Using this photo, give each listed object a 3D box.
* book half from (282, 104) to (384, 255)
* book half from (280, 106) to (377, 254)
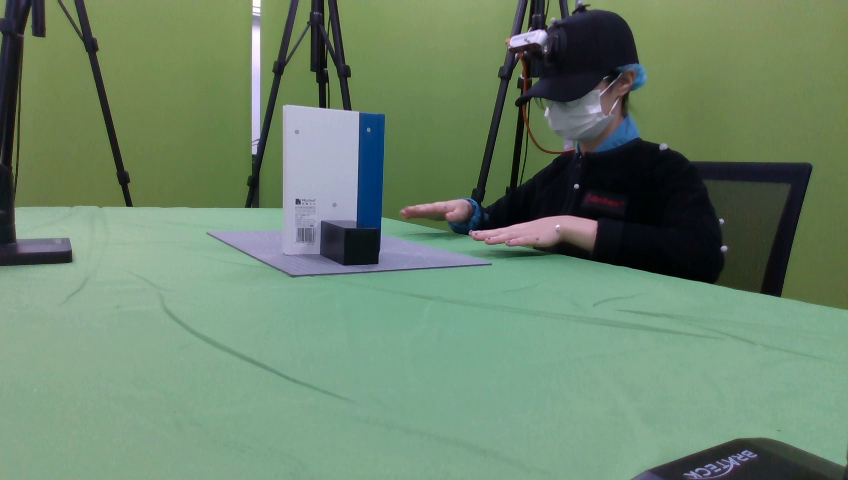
[{"bbox_3d":[-0.132,-0.084,0.881,0.149,0.210,0.016,-1,8,-27],"label":"book half"},{"bbox_3d":[-0.137,-0.085,0.886,0.144,0.210,0.007,-1,8,-26],"label":"book half"}]
